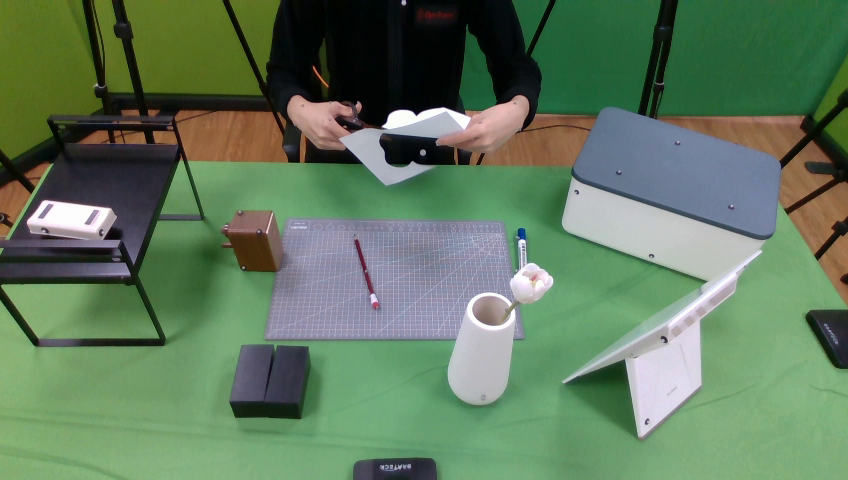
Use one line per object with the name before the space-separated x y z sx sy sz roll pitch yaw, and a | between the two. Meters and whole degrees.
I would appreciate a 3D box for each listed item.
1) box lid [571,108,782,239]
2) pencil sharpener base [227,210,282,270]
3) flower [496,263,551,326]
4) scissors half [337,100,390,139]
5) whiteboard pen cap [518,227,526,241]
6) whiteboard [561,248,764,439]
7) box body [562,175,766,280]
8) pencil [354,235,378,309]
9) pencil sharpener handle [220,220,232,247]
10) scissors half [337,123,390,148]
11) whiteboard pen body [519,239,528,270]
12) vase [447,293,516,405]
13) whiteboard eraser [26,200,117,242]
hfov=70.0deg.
box lid | 0.491 -0.139 1.168 0.370 0.015 0.262 21 49 15
pencil sharpener base | -0.311 0.001 1.112 0.077 0.107 0.061 1 47 1
flower | 0.102 0.121 0.853 0.044 0.363 0.038 -2 64 -10
scissors half | -0.107 -0.207 1.053 0.013 0.040 0.174 -14 36 -33
whiteboard pen cap | 0.197 -0.009 1.220 0.018 0.018 0.033 5 51 1
whiteboard | 0.386 0.176 0.905 0.217 0.306 0.143 -26 72 -27
box body | 0.486 -0.088 1.222 0.363 0.161 0.253 20 48 15
pencil | -0.113 0.055 1.143 0.012 0.012 0.192 -10 46 -13
pencil sharpener handle | -0.362 -0.009 1.105 0.030 0.068 0.036 1 52 1
scissors half | -0.107 -0.186 1.059 0.013 0.040 0.174 -9 7 -35
whiteboard pen body | 0.193 0.035 1.181 0.017 0.017 0.140 6 48 1
vase | 0.091 0.169 0.921 0.098 0.201 0.097 3 47 -3
whiteboard eraser | -0.532 -0.026 0.919 0.113 0.042 0.055 7 45 3
